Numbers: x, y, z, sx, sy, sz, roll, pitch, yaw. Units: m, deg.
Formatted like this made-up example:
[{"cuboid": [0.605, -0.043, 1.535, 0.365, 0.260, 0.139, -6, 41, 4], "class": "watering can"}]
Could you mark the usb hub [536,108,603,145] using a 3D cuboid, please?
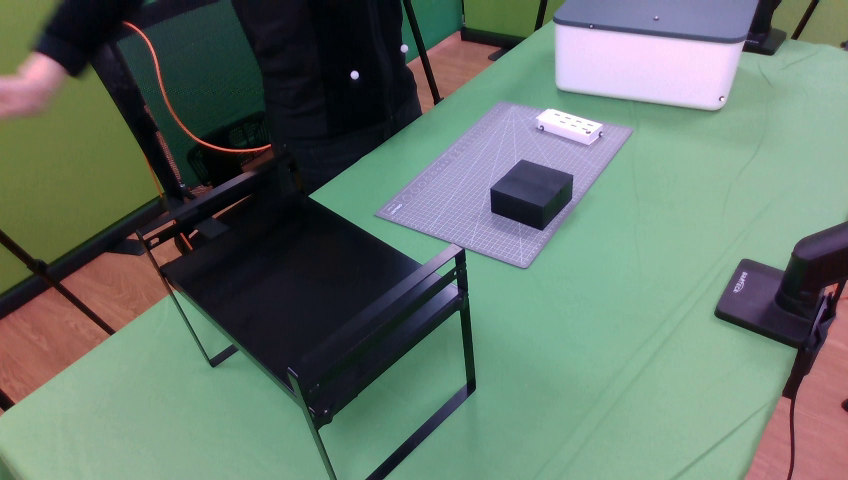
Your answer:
[{"cuboid": [0.284, -0.225, 1.188, 0.124, 0.025, 0.049, 28, 52, 35], "class": "usb hub"}]

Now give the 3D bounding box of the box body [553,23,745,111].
[{"cuboid": [0.480, -0.417, 1.282, 0.362, 0.161, 0.254, 15, 46, 24], "class": "box body"}]

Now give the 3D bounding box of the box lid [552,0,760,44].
[{"cuboid": [0.471, -0.473, 1.234, 0.369, 0.015, 0.263, 16, 45, 24], "class": "box lid"}]
